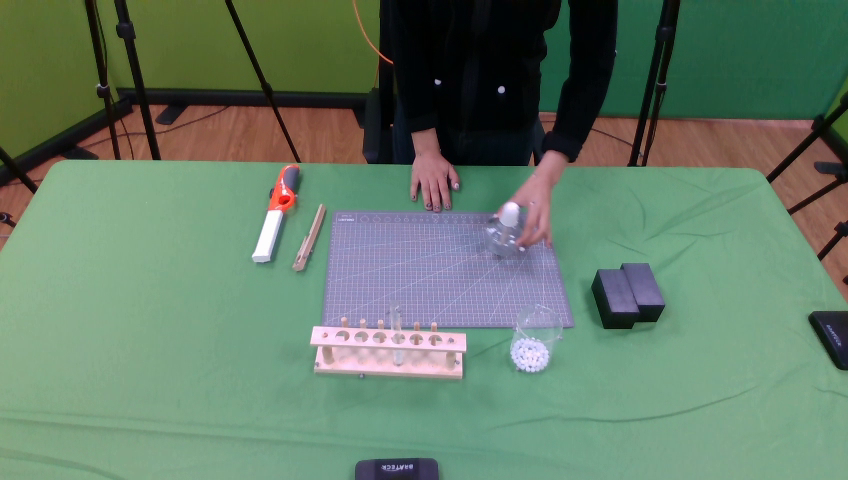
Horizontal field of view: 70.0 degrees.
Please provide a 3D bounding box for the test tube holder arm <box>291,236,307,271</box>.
[{"bbox_3d":[-0.234,0.024,1.163,0.010,0.015,0.087,-17,38,28],"label":"test tube holder arm"}]

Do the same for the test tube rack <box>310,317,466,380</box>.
[{"bbox_3d":[-0.056,0.171,0.987,0.242,0.085,0.066,3,45,-1],"label":"test tube rack"}]

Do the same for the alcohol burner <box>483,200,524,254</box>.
[{"bbox_3d":[0.152,-0.030,1.142,0.078,0.119,0.077,3,49,-3],"label":"alcohol burner"}]

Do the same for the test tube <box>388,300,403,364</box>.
[{"bbox_3d":[-0.044,0.146,0.942,0.017,0.151,0.017,-1,44,1],"label":"test tube"}]

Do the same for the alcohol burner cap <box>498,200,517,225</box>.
[{"bbox_3d":[0.156,-0.054,1.116,0.034,0.048,0.033,3,54,-4],"label":"alcohol burner cap"}]

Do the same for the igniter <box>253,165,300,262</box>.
[{"bbox_3d":[-0.298,-0.063,1.234,0.057,0.025,0.275,-2,45,7],"label":"igniter"}]

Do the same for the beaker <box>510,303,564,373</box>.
[{"bbox_3d":[0.182,0.164,1.000,0.074,0.101,0.083,2,45,-1],"label":"beaker"}]

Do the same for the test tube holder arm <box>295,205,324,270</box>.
[{"bbox_3d":[-0.223,-0.008,1.192,0.013,0.015,0.177,-18,37,27],"label":"test tube holder arm"}]
